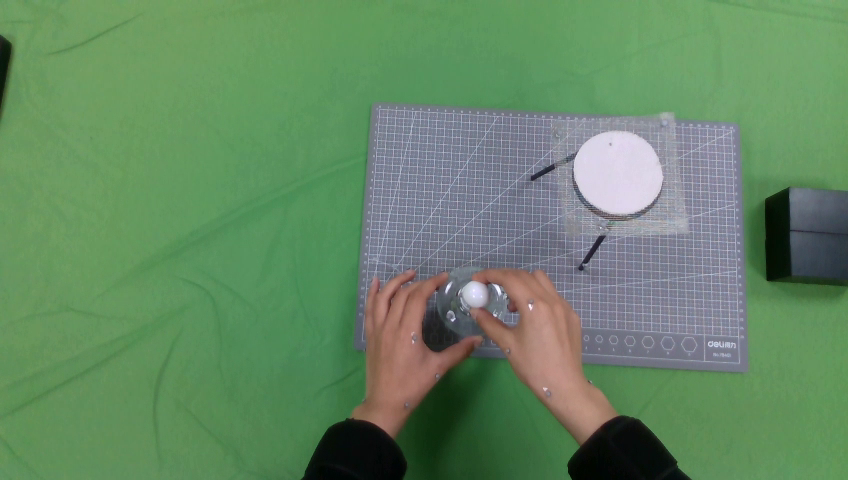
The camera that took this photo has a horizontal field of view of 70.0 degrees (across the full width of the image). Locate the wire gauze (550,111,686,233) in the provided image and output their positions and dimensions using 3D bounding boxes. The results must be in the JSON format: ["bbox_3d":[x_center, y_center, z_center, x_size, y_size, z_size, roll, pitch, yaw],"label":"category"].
[{"bbox_3d":[0.189,-0.066,0.589,0.125,0.011,0.121,-2,80,-3],"label":"wire gauze"}]

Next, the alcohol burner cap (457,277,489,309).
[{"bbox_3d":[0.050,0.051,0.606,0.034,0.048,0.033,0,78,2],"label":"alcohol burner cap"}]

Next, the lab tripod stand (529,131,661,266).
[{"bbox_3d":[0.190,-0.055,0.655,0.148,0.132,0.147,0,77,-1],"label":"lab tripod stand"}]

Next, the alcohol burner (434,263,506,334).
[{"bbox_3d":[0.051,0.060,0.642,0.078,0.119,0.077,1,78,-3],"label":"alcohol burner"}]
